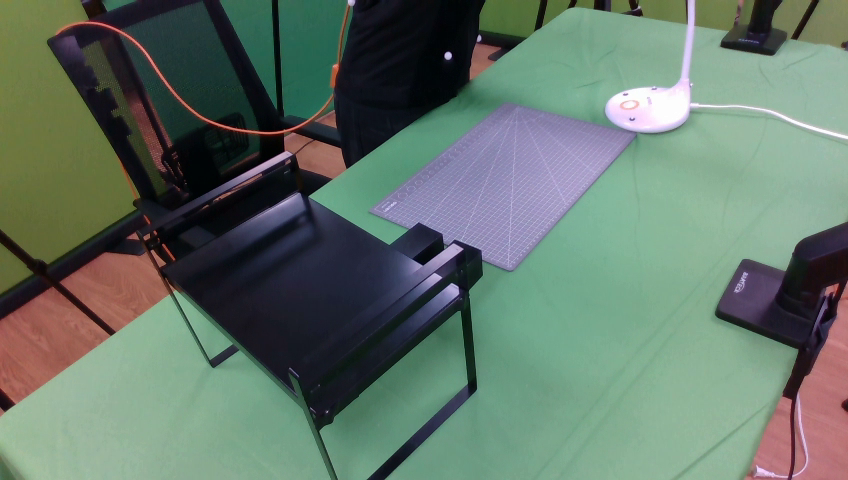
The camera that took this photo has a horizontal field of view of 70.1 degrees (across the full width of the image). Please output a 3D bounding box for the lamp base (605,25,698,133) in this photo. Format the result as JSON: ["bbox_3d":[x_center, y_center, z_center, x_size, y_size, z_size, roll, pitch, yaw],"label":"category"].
[{"bbox_3d":[0.449,-0.321,1.161,0.179,0.181,0.159,-6,41,-2],"label":"lamp base"}]
